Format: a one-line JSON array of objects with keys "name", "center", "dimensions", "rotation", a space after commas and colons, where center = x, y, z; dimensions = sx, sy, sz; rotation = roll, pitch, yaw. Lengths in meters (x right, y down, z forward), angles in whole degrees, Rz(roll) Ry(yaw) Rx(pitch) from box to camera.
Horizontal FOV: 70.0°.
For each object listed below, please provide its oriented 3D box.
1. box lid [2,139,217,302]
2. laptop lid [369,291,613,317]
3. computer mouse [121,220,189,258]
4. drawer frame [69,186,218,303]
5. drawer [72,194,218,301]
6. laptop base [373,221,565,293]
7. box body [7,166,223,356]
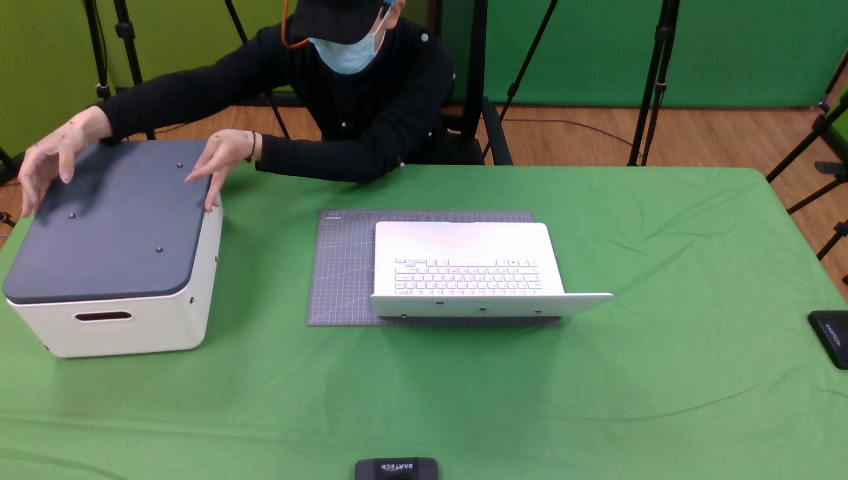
[{"name": "box lid", "center": [-0.496, -0.051, 0.998], "dimensions": [0.263, 0.015, 0.369], "rotation": [-2, 47, -7]}, {"name": "laptop lid", "center": [0.092, 0.104, 0.965], "dimensions": [0.357, 0.242, 0.013], "rotation": [0, 76, -5]}, {"name": "computer mouse", "center": [-0.511, -0.003, 1.152], "dimensions": [0.117, 0.041, 0.062], "rotation": [12, 42, -3]}, {"name": "drawer frame", "center": [-0.496, 0.003, 1.098], "dimensions": [0.202, 0.083, 0.212], "rotation": [-2, 51, -4]}, {"name": "drawer", "center": [-0.496, 0.011, 1.104], "dimensions": [0.195, 0.073, 0.210], "rotation": [1, 46, -6]}, {"name": "laptop base", "center": [0.080, 0.049, 1.159], "dimensions": [0.355, 0.023, 0.234], "rotation": [0, 43, -4]}, {"name": "box body", "center": [-0.499, 0.012, 1.051], "dimensions": [0.254, 0.161, 0.361], "rotation": [-3, 47, -7]}]
